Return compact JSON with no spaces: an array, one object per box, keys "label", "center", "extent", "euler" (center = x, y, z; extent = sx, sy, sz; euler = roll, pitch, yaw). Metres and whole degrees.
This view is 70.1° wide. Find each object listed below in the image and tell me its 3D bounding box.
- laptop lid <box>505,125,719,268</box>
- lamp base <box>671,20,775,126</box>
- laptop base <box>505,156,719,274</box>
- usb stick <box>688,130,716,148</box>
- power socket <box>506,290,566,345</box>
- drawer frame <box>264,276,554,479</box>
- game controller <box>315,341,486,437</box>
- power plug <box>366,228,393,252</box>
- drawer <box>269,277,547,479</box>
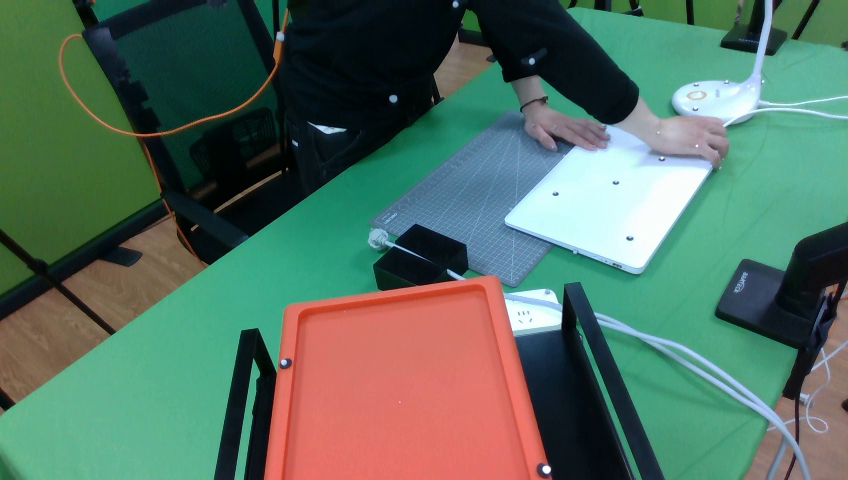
[{"label":"laptop lid","center":[0.323,-0.093,1.022],"extent":[0.240,0.013,0.358],"euler":[23,48,33]},{"label":"lamp base","center":[0.581,-0.332,1.153],"extent":[0.179,0.181,0.160],"euler":[2,42,7]},{"label":"laptop base","center":[0.326,-0.083,1.028],"extent":[0.233,0.023,0.355],"euler":[21,48,32]},{"label":"usb stick","center":[0.501,-0.178,1.102],"extent":[0.059,0.027,0.021],"euler":[-25,51,-17]},{"label":"power socket","center":[0.081,0.112,0.822],"extent":[0.227,0.033,0.072],"euler":[-7,41,0]},{"label":"drawer frame","center":[-0.016,0.137,0.490],"extent":[0.202,0.083,0.212],"euler":[-8,41,-2]},{"label":"game controller","center":[-0.021,0.120,0.534],"extent":[0.155,0.052,0.096],"euler":[-3,38,0]},{"label":"power plug","center":[-0.067,0.010,0.954],"extent":[0.035,0.053,0.072],"euler":[-36,51,2]},{"label":"drawer","center":[-0.018,0.137,0.493],"extent":[0.195,0.073,0.210],"euler":[-7,41,-1]}]
